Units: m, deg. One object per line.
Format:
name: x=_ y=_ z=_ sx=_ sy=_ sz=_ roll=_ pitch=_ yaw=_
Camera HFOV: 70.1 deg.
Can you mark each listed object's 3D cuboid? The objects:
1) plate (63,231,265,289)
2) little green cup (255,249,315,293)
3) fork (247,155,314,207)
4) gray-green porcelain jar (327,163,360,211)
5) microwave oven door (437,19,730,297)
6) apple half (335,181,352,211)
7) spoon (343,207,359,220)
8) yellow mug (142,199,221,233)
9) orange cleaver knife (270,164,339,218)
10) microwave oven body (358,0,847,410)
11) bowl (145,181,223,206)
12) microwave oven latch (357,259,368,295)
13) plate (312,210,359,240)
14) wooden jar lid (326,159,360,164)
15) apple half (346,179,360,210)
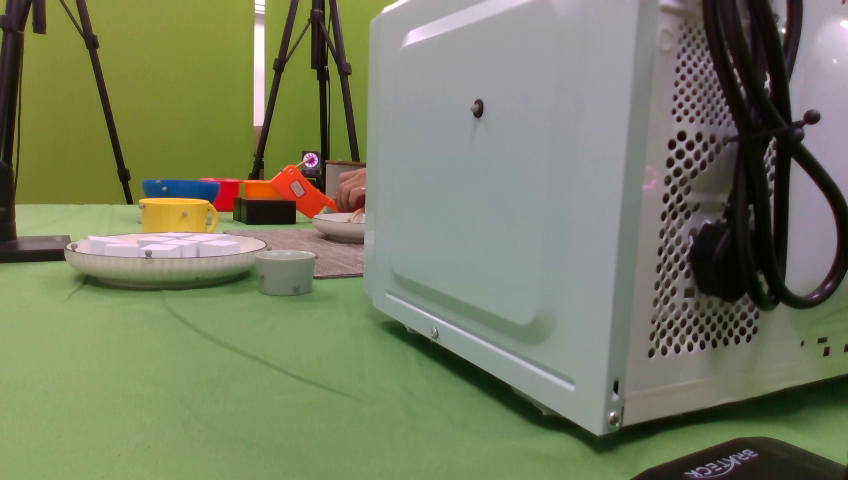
plate: x=-0.288 y=0.021 z=0.687 sx=0.208 sy=0.039 sz=0.207 roll=2 pitch=8 yaw=0
little green cup: x=-0.144 y=0.032 z=0.627 sx=0.061 sy=0.038 sz=0.061 roll=2 pitch=5 yaw=0
fork: x=-0.360 y=-0.147 z=1.522 sx=0.207 sy=0.018 sz=0.028 roll=-43 pitch=7 yaw=-7
gray-green porcelain jar: x=-0.187 y=-0.125 z=1.490 sx=0.106 sy=0.126 sz=0.106 roll=2 pitch=7 yaw=0
microwave oven door: x=0.180 y=-0.076 z=0.618 sx=0.358 sy=0.243 sz=0.039 roll=-2 pitch=9 yaw=-28
apple half: x=-0.156 y=-0.086 z=1.264 sx=0.053 sy=0.074 sz=0.081 roll=-5 pitch=13 yaw=29
spoon: x=-0.126 y=-0.047 z=1.117 sx=0.041 sy=0.021 sz=0.194 roll=2 pitch=19 yaw=13
yellow mug: x=-0.373 y=-0.030 z=0.948 sx=0.099 sy=0.064 sz=0.131 roll=6 pitch=7 yaw=30
orange cleaver knife: x=-0.240 y=-0.088 z=1.329 sx=0.212 sy=0.077 sz=0.012 roll=36 pitch=-9 yaw=-34
microwave oven body: x=0.210 y=-0.051 z=0.471 sx=0.444 sy=0.260 sz=0.324 roll=-1 pitch=7 yaw=-28
bowl: x=-0.499 y=-0.081 z=1.261 sx=0.151 sy=0.077 sz=0.151 roll=2 pitch=8 yaw=0
microwave oven latch: x=-0.019 y=0.031 z=0.529 sx=0.079 sy=0.029 sz=0.030 roll=-1 pitch=7 yaw=-26
plate: x=-0.091 y=-0.026 z=1.063 sx=0.209 sy=0.038 sz=0.209 roll=2 pitch=8 yaw=0
wooden jar lid: x=-0.185 y=-0.186 z=1.481 sx=0.108 sy=0.020 sz=0.108 roll=4 pitch=6 yaw=0
apple half: x=-0.128 y=-0.090 z=1.245 sx=0.032 sy=0.081 sz=0.081 roll=5 pitch=8 yaw=24
